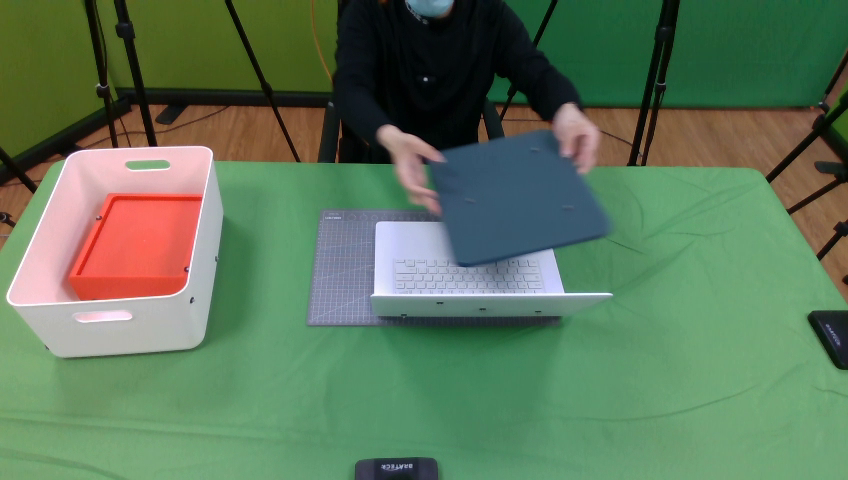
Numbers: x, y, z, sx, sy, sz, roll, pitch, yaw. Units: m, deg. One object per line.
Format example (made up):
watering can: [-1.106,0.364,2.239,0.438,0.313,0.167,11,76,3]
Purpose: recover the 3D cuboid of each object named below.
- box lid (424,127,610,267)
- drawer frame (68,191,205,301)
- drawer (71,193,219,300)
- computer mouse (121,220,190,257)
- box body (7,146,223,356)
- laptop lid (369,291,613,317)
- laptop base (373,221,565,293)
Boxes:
box lid: [0.147,-0.093,1.085,0.263,0.015,0.369,-12,38,0]
drawer frame: [-0.495,0.009,1.101,0.202,0.083,0.212,0,47,-4]
drawer: [-0.496,0.008,1.102,0.194,0.073,0.210,0,47,-3]
computer mouse: [-0.510,-0.004,1.152,0.117,0.041,0.062,12,42,-3]
box body: [-0.499,0.012,1.051,0.254,0.161,0.361,-3,47,-7]
laptop lid: [0.092,0.104,0.965,0.357,0.242,0.013,0,76,-5]
laptop base: [0.080,0.049,1.159,0.355,0.023,0.234,0,43,-4]
